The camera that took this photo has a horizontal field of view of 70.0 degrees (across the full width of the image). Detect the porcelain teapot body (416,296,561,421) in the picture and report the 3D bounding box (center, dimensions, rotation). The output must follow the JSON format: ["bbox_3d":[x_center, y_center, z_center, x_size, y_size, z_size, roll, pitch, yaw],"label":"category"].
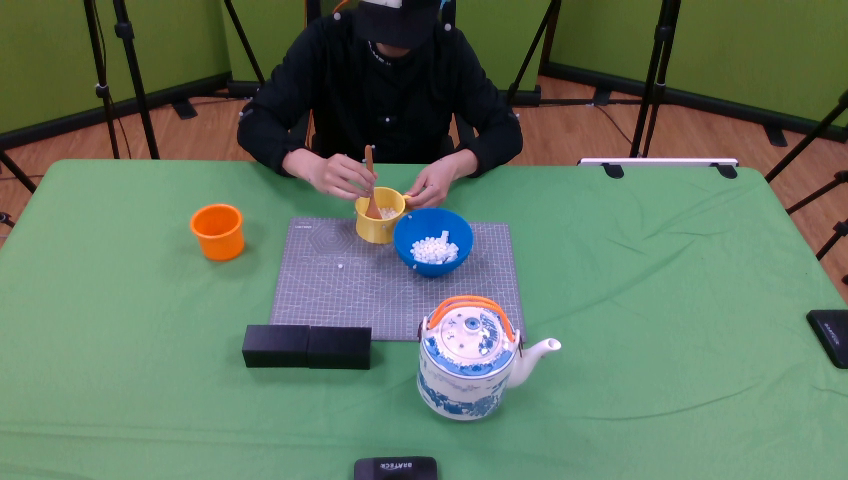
[{"bbox_3d":[0.094,0.164,0.907,0.205,0.226,0.144,6,45,1],"label":"porcelain teapot body"}]

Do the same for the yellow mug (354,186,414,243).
[{"bbox_3d":[-0.076,-0.056,1.212,0.131,0.064,0.099,-23,52,-25],"label":"yellow mug"}]

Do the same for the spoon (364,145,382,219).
[{"bbox_3d":[-0.102,-0.094,1.147,0.041,0.194,0.021,2,34,6],"label":"spoon"}]

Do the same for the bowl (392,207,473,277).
[{"bbox_3d":[0.014,0.016,1.140,0.151,0.077,0.150,2,46,-2],"label":"bowl"}]

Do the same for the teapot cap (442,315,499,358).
[{"bbox_3d":[0.068,0.133,0.880,0.085,0.044,0.084,4,45,-4],"label":"teapot cap"}]
